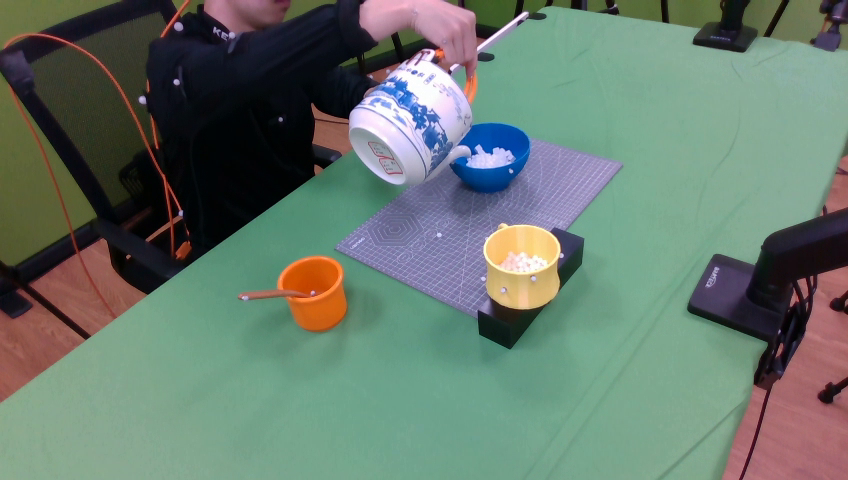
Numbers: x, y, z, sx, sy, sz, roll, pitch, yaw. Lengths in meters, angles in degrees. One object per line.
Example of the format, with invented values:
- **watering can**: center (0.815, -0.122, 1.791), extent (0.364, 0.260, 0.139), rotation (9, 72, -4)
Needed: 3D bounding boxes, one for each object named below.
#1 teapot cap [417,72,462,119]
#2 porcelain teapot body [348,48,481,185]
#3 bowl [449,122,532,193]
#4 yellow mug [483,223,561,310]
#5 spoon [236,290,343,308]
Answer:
- **teapot cap**: center (0.026, -0.224, 0.929), extent (0.084, 0.085, 0.044), rotation (25, 61, 32)
- **porcelain teapot body**: center (0.011, -0.178, 0.934), extent (0.144, 0.207, 0.225), rotation (22, 62, 39)
- **bowl**: center (0.113, -0.136, 1.063), extent (0.151, 0.077, 0.150), rotation (-4, 41, 4)
- **yellow mug**: center (0.125, 0.025, 0.811), extent (0.100, 0.064, 0.130), rotation (-16, 39, -10)
- **spoon**: center (-0.176, 0.076, 0.808), extent (0.041, 0.195, 0.021), rotation (22, 93, 30)
